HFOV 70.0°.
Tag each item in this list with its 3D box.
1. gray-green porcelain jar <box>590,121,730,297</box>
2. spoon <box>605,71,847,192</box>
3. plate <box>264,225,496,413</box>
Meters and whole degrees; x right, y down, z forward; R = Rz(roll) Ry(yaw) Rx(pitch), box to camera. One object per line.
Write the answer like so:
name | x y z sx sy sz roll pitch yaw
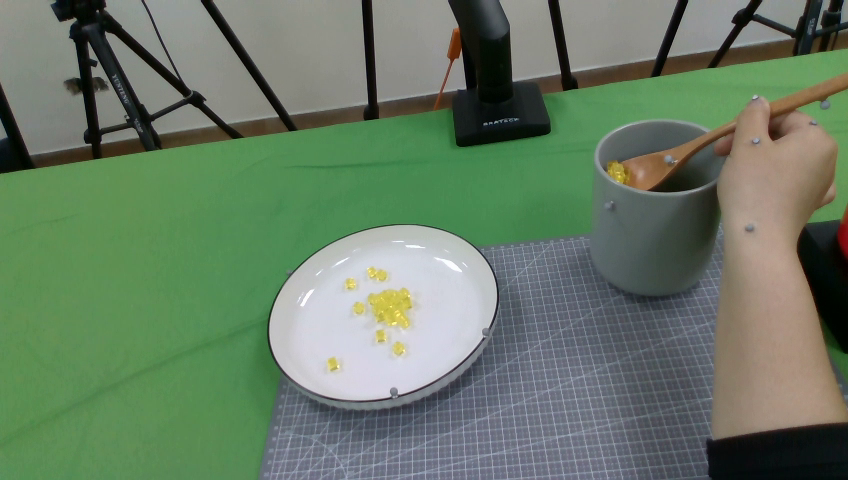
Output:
gray-green porcelain jar | 0.198 -0.022 0.527 0.106 0.128 0.105 -6 42 6
spoon | 0.225 -0.079 0.459 0.193 0.022 0.041 -28 38 37
plate | -0.038 0.069 0.548 0.207 0.039 0.205 -6 42 6
